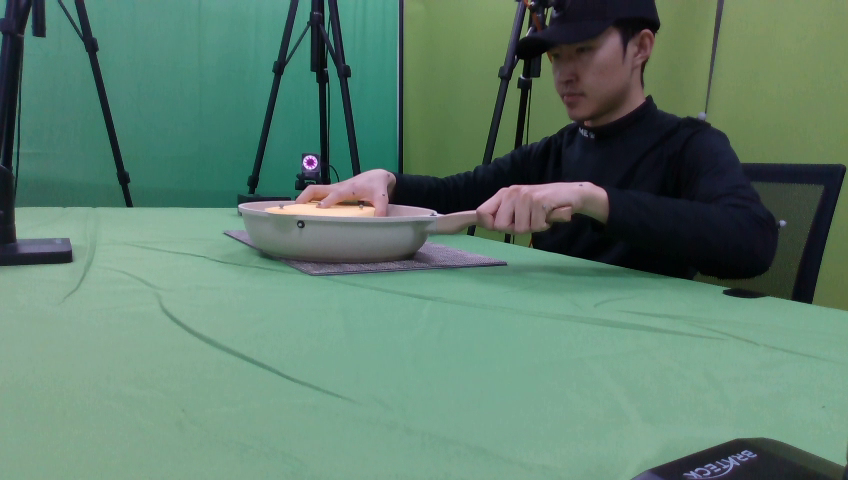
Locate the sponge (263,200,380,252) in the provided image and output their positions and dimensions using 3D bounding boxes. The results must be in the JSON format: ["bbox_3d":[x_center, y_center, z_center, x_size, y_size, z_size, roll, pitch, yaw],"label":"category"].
[{"bbox_3d":[-0.146,-0.020,0.912,0.118,0.061,0.207,5,8,8],"label":"sponge"}]

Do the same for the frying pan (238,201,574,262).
[{"bbox_3d":[-0.033,-0.025,0.867,0.486,0.102,0.308,-4,5,24],"label":"frying pan"}]
